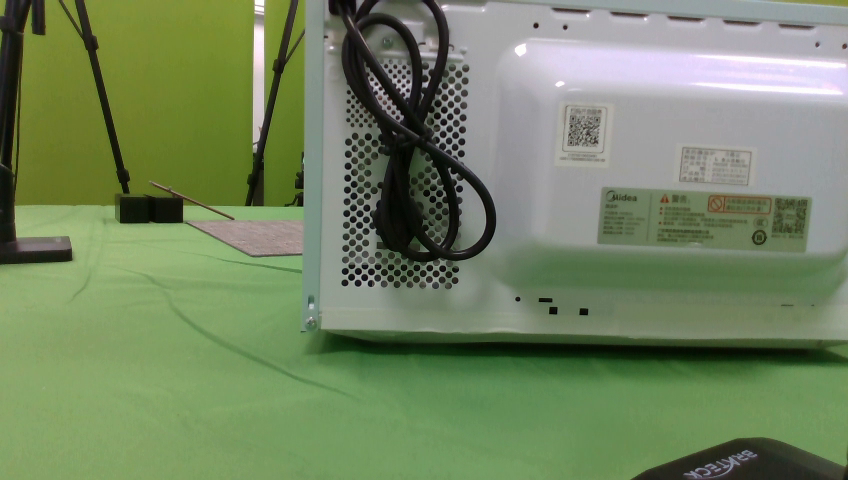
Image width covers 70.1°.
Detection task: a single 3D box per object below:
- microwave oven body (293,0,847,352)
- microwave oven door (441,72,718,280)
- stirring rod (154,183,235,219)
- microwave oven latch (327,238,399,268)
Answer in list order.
[{"bbox_3d":[0.122,-0.055,0.550,0.442,0.260,0.325,3,7,-5],"label":"microwave oven body"},{"bbox_3d":[0.185,-0.090,0.801,0.354,0.243,0.039,7,8,33],"label":"microwave oven door"},{"bbox_3d":[-0.472,-0.079,1.252,0.177,0.006,0.014,27,4,-35],"label":"stirring rod"},{"bbox_3d":[-0.069,0.015,0.694,0.079,0.029,0.030,3,7,-3],"label":"microwave oven latch"}]
